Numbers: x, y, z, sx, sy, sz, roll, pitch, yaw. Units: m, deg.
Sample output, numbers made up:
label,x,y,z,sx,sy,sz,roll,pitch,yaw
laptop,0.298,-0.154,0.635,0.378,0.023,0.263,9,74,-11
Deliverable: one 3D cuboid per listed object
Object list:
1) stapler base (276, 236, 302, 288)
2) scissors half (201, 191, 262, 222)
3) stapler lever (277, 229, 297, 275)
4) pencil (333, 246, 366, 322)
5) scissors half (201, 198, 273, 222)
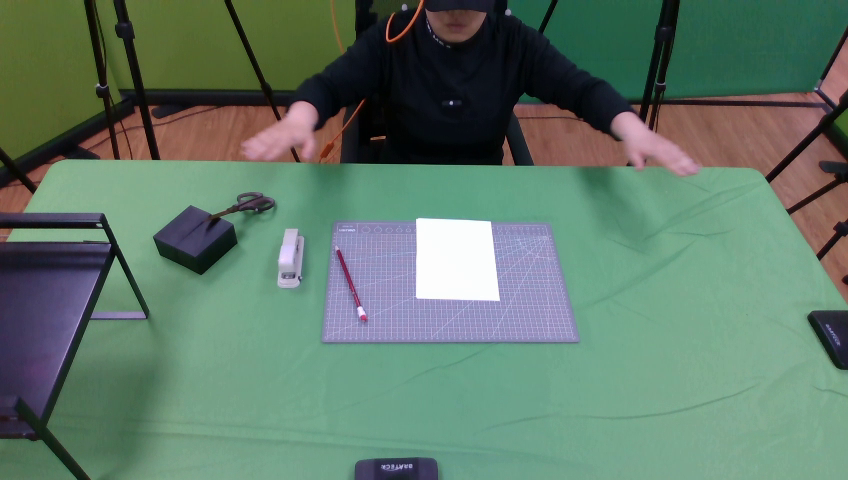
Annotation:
label,x,y,z,sx,sy,sz,roll,pitch,yaw
stapler base,-0.255,0.034,1.144,0.041,0.024,0.129,0,44,-7
scissors half,-0.381,-0.066,1.198,0.040,0.013,0.175,26,29,9
stapler lever,-0.254,0.016,1.128,0.027,0.040,0.117,0,45,-6
pencil,-0.140,0.076,1.117,0.012,0.012,0.192,-14,48,-17
scissors half,-0.365,-0.055,1.192,0.040,0.013,0.175,40,33,22
